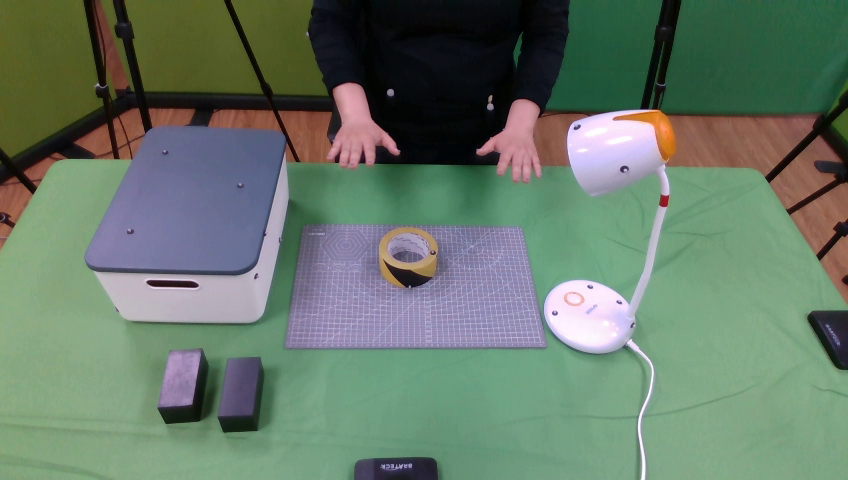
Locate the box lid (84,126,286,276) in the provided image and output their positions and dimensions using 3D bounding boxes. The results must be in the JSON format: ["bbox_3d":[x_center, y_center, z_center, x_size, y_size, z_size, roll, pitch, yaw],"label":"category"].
[{"bbox_3d":[-0.393,-0.081,1.046,0.263,0.015,0.369,2,46,-3],"label":"box lid"}]

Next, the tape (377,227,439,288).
[{"bbox_3d":[-0.031,0.032,1.140,0.117,0.053,0.116,2,46,-2],"label":"tape"}]

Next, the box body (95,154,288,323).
[{"bbox_3d":[-0.396,-0.031,1.100,0.254,0.161,0.361,1,46,-3],"label":"box body"}]

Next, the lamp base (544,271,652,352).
[{"bbox_3d":[0.309,0.086,1.029,0.178,0.181,0.160,32,52,21],"label":"lamp base"}]

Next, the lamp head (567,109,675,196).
[{"bbox_3d":[0.272,-0.123,0.818,0.122,0.113,0.112,-9,35,37],"label":"lamp head"}]
